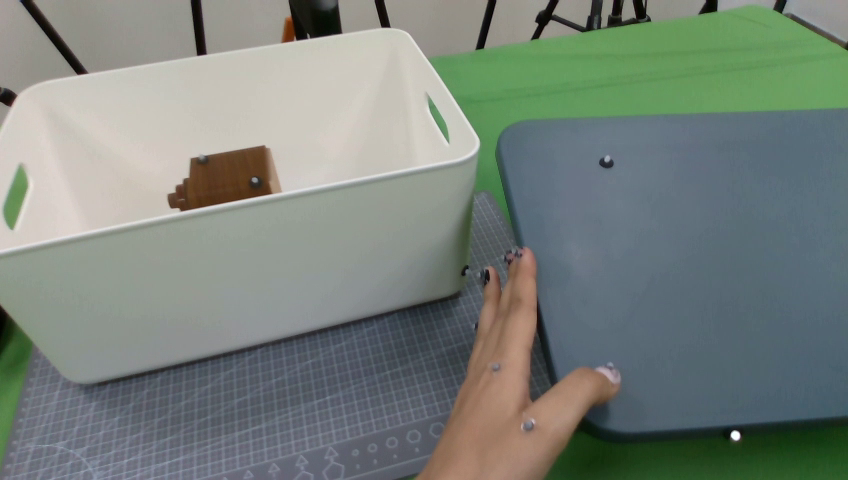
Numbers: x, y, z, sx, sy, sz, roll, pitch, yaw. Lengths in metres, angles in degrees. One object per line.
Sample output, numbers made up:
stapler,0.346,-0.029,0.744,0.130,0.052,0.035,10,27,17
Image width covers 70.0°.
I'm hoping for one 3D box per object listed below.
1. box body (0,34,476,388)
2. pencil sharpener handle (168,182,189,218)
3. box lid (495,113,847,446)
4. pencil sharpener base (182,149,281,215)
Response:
box body,-0.157,-0.040,0.549,0.365,0.162,0.251,-13,42,-11
pencil sharpener handle,-0.219,-0.019,0.543,0.031,0.068,0.035,-12,46,-8
box lid,0.244,0.001,0.413,0.372,0.015,0.260,-3,49,-4
pencil sharpener base,-0.169,-0.020,0.558,0.077,0.108,0.060,-12,43,-8
